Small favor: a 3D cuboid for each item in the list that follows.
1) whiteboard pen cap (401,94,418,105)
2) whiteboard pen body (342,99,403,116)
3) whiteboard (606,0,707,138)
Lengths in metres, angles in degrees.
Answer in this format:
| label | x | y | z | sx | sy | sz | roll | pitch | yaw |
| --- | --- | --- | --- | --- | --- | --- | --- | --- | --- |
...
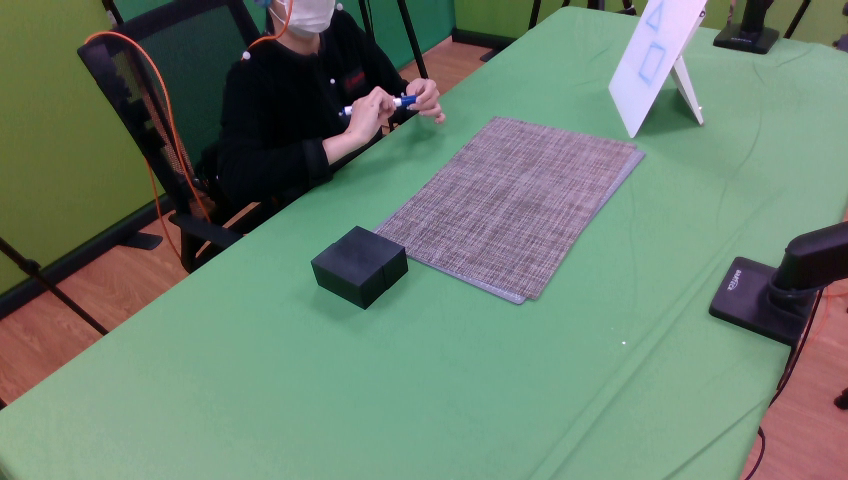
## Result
| label | x | y | z | sx | sy | sz | roll | pitch | yaw |
| --- | --- | --- | --- | --- | --- | --- | --- | --- | --- |
| whiteboard pen cap | -0.029 | -0.271 | 1.171 | 0.033 | 0.018 | 0.018 | -14 | 41 | -6 |
| whiteboard pen body | -0.089 | -0.260 | 1.175 | 0.141 | 0.017 | 0.017 | -10 | 40 | 1 |
| whiteboard | 0.496 | -0.359 | 1.147 | 0.144 | 0.305 | 0.216 | 11 | 40 | -7 |
